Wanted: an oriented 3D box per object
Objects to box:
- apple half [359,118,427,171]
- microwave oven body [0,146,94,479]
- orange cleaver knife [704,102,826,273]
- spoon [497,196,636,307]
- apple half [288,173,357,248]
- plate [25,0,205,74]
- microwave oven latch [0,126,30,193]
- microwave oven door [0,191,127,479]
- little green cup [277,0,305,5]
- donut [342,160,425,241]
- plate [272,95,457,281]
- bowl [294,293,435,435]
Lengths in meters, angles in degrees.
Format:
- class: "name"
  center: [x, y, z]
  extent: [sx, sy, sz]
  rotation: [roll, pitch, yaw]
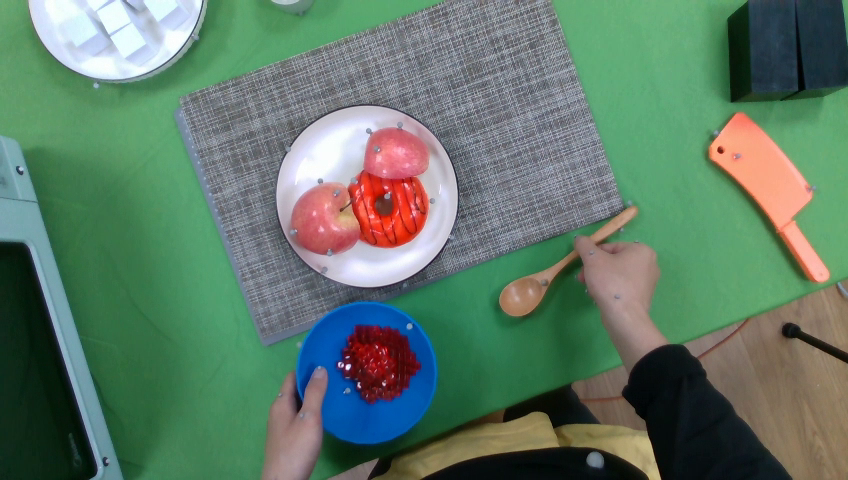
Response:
- class: "apple half"
  center: [-0.033, -0.112, 0.663]
  extent: [0.081, 0.033, 0.080]
  rotation: [2, 49, -2]
- class: "microwave oven body"
  center: [-0.568, 0.123, 0.594]
  extent: [0.326, 0.260, 0.441]
  rotation: [-18, 90, 1]
- class: "orange cleaver knife"
  center: [0.401, -0.061, 0.689]
  extent: [0.077, 0.012, 0.211]
  rotation: [-36, 88, -4]
- class: "spoon"
  center: [0.165, 0.012, 0.691]
  extent: [0.194, 0.022, 0.041]
  rotation: [-38, 67, 4]
- class: "apple half"
  center: [-0.118, -0.029, 0.661]
  extent: [0.074, 0.053, 0.080]
  rotation: [-17, 88, 43]
- class: "plate"
  center: [-0.351, -0.292, 0.702]
  extent: [0.207, 0.039, 0.207]
  rotation: [0, 90, 2]
- class: "microwave oven latch"
  center: [-0.478, -0.090, 0.687]
  extent: [0.030, 0.029, 0.079]
  rotation: [-17, 90, 1]
- class: "microwave oven door"
  center: [-0.416, 0.118, 0.585]
  extent: [0.039, 0.244, 0.355]
  rotation: [-18, 89, 2]
- class: "little green cup"
  center: [-0.157, -0.302, 0.696]
  extent: [0.061, 0.038, 0.061]
  rotation: [0, 90, 2]
- class: "donut"
  center: [-0.048, -0.047, 0.679]
  extent: [0.099, 0.048, 0.099]
  rotation: [0, 92, 1]
- class: "plate"
  center: [-0.066, -0.058, 0.690]
  extent: [0.209, 0.038, 0.209]
  rotation: [0, 90, 2]
- class: "bowl"
  center: [-0.061, 0.131, 0.675]
  extent: [0.151, 0.077, 0.151]
  rotation: [0, 90, 2]
